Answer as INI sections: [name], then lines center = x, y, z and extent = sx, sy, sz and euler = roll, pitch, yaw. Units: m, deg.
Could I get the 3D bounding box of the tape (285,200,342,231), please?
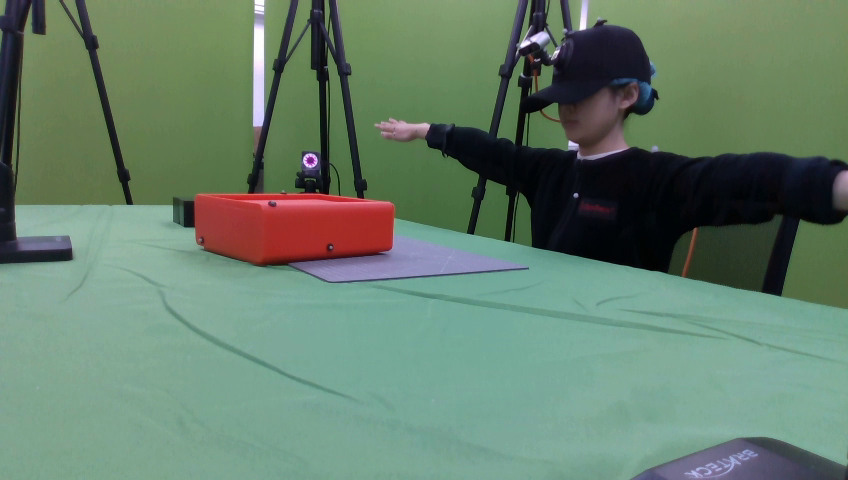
[tape]
center = -0.223, -0.051, 1.221
extent = 0.117, 0.052, 0.117
euler = 3, 7, 0

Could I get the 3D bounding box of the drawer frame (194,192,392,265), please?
[drawer frame]
center = -0.190, -0.024, 0.882
extent = 0.215, 0.082, 0.200
euler = -5, 11, -44

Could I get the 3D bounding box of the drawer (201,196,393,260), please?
[drawer]
center = -0.186, -0.023, 0.886
extent = 0.213, 0.073, 0.193
euler = -5, 12, -43
